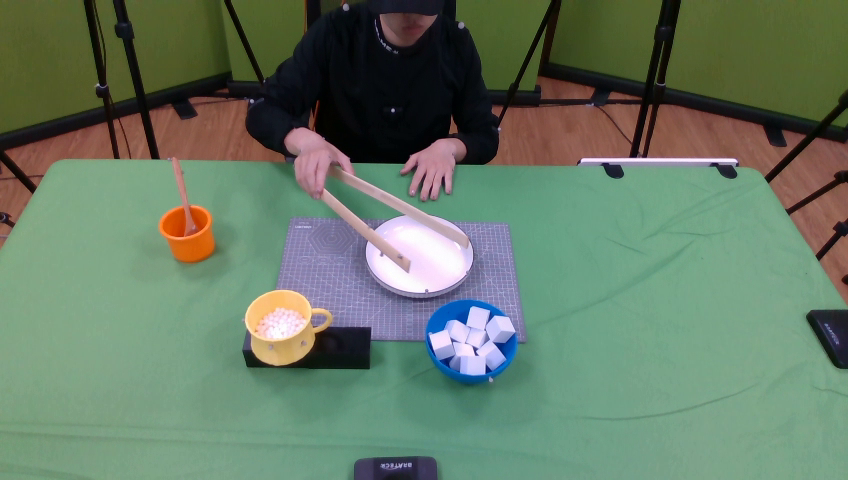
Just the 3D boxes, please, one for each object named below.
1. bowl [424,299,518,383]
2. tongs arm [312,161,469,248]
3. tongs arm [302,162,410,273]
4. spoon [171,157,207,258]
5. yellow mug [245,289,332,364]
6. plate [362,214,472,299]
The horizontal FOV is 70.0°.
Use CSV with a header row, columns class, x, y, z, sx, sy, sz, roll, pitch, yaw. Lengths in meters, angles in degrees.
class,x,y,z,sx,sy,sz,roll,pitch,yaw
bowl,0.072,0.179,0.993,0.151,0.077,0.150,3,46,-3
tongs arm,-0.071,-0.072,1.109,0.385,0.028,0.028,28,44,33
tongs arm,-0.124,-0.051,1.068,0.051,0.026,0.382,-22,40,-33
spoon,-0.444,-0.061,1.133,0.042,0.194,0.021,-12,4,-19
yellow mug,-0.210,0.133,0.954,0.131,0.064,0.099,-9,48,-14
plate,-0.014,0.034,1.150,0.208,0.039,0.206,2,46,-2
